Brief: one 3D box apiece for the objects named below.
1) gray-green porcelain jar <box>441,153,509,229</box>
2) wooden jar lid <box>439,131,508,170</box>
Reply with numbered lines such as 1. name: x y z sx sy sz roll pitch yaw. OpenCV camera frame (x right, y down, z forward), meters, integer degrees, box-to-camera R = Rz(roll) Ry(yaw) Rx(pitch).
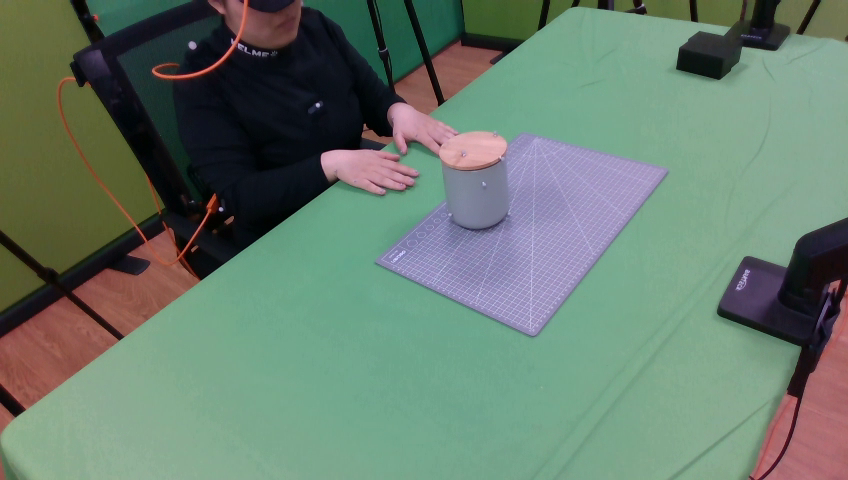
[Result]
1. gray-green porcelain jar: 0.086 -0.090 0.988 0.106 0.127 0.105 -5 40 5
2. wooden jar lid: 0.078 -0.136 0.948 0.108 0.021 0.108 -5 38 5
